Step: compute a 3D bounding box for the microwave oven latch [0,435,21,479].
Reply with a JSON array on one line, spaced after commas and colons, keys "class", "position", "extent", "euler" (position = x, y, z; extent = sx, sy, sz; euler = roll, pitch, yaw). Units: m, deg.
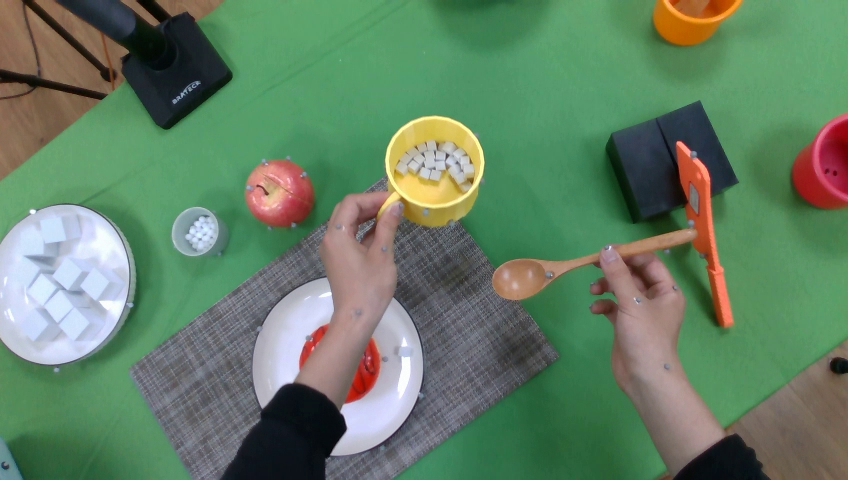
[{"class": "microwave oven latch", "position": [-0.534, 0.276, 0.752], "extent": [0.030, 0.029, 0.079], "euler": [-32, 81, 3]}]

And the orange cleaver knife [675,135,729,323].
[{"class": "orange cleaver knife", "position": [0.298, -0.009, 0.652], "extent": [0.012, 0.076, 0.213], "euler": [-18, 113, 8]}]

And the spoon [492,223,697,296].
[{"class": "spoon", "position": [0.157, 0.016, 0.575], "extent": [0.193, 0.022, 0.041], "euler": [-17, 71, 22]}]

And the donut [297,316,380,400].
[{"class": "donut", "position": [-0.100, 0.137, 0.705], "extent": [0.099, 0.048, 0.099], "euler": [-1, 86, 9]}]

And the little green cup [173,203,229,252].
[{"class": "little green cup", "position": [-0.280, -0.013, 0.765], "extent": [0.061, 0.039, 0.061], "euler": [-1, 83, 9]}]

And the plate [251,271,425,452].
[{"class": "plate", "position": [-0.100, 0.140, 0.716], "extent": [0.209, 0.038, 0.208], "euler": [-1, 84, 9]}]

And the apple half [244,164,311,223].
[{"class": "apple half", "position": [-0.183, -0.049, 0.737], "extent": [0.080, 0.075, 0.053], "euler": [33, 94, 8]}]

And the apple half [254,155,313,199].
[{"class": "apple half", "position": [-0.163, -0.082, 0.737], "extent": [0.081, 0.081, 0.033], "euler": [33, 93, 11]}]

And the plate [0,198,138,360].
[{"class": "plate", "position": [-0.462, 0.050, 0.786], "extent": [0.207, 0.039, 0.207], "euler": [-1, 83, 9]}]

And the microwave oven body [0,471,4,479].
[{"class": "microwave oven body", "position": [-0.576, 0.491, 0.636], "extent": [0.326, 0.261, 0.440], "euler": [-34, 80, 3]}]

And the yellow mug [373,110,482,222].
[{"class": "yellow mug", "position": [-0.003, -0.065, 0.627], "extent": [0.131, 0.064, 0.099], "euler": [-43, 80, -10]}]

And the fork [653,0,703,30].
[{"class": "fork", "position": [0.335, -0.301, 0.647], "extent": [0.207, 0.019, 0.028], "euler": [-38, 73, 47]}]
